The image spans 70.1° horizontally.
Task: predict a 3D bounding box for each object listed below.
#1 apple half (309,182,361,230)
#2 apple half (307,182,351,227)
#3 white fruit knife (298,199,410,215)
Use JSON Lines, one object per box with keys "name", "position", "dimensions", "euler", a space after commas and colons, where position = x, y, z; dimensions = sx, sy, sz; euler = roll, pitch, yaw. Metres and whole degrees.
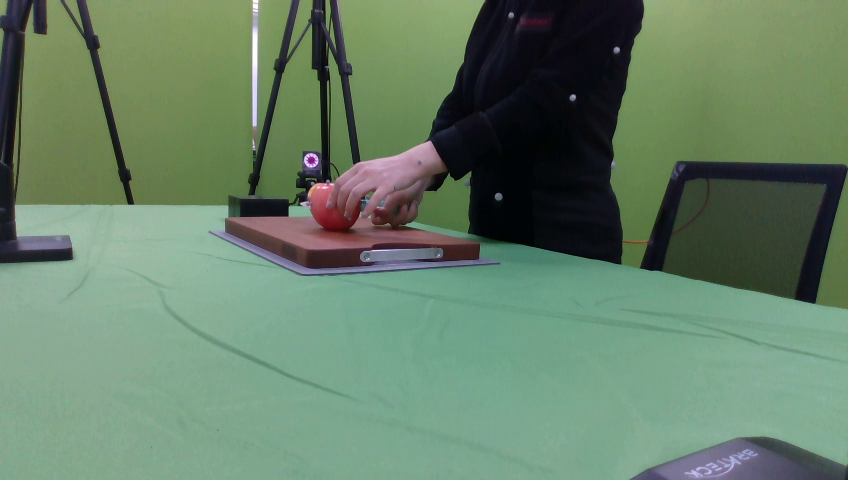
{"name": "apple half", "position": [-0.134, -0.052, 0.947], "dimensions": [0.081, 0.074, 0.053], "euler": [1, 15, -33]}
{"name": "apple half", "position": [-0.159, -0.057, 0.985], "dimensions": [0.082, 0.081, 0.032], "euler": [-3, 1, -35]}
{"name": "white fruit knife", "position": [-0.110, -0.057, 0.999], "dimensions": [0.208, 0.027, 0.016], "euler": [0, -6, -36]}
